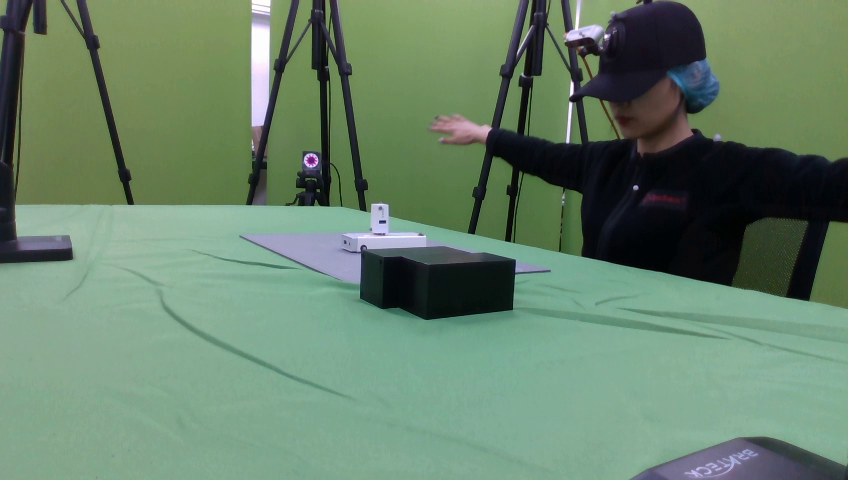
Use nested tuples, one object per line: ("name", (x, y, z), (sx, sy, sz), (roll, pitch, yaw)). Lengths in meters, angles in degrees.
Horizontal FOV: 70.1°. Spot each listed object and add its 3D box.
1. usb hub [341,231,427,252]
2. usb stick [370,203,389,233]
("usb hub", (-0.061, 0.002, 0.930), (0.126, 0.025, 0.049), (-2, 9, -28))
("usb stick", (-0.068, -0.027, 0.926), (0.021, 0.059, 0.027), (-2, 11, -30))
